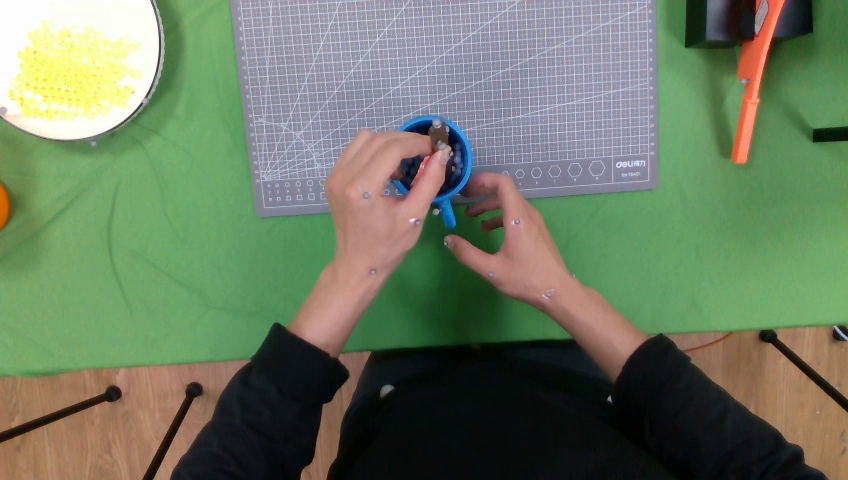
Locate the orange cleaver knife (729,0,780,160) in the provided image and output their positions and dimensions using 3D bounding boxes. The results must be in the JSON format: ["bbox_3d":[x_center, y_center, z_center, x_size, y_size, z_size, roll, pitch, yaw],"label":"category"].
[{"bbox_3d":[0.337,-0.188,0.626,0.012,0.076,0.213,-1,125,8],"label":"orange cleaver knife"}]

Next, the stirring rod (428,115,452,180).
[{"bbox_3d":[0.016,-0.075,0.515,0.014,0.176,0.006,-45,82,-1],"label":"stirring rod"}]

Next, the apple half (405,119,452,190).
[{"bbox_3d":[0.012,-0.083,0.611,0.033,0.081,0.081,24,98,6],"label":"apple half"}]

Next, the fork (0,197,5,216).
[{"bbox_3d":[-0.535,-0.045,0.591,0.209,0.018,0.028,6,99,-46],"label":"fork"}]

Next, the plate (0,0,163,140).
[{"bbox_3d":[-0.372,-0.209,0.626,0.209,0.038,0.209,0,100,-1],"label":"plate"}]

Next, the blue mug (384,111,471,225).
[{"bbox_3d":[0.008,-0.071,0.622,0.082,0.105,0.117,-19,99,2],"label":"blue mug"}]
